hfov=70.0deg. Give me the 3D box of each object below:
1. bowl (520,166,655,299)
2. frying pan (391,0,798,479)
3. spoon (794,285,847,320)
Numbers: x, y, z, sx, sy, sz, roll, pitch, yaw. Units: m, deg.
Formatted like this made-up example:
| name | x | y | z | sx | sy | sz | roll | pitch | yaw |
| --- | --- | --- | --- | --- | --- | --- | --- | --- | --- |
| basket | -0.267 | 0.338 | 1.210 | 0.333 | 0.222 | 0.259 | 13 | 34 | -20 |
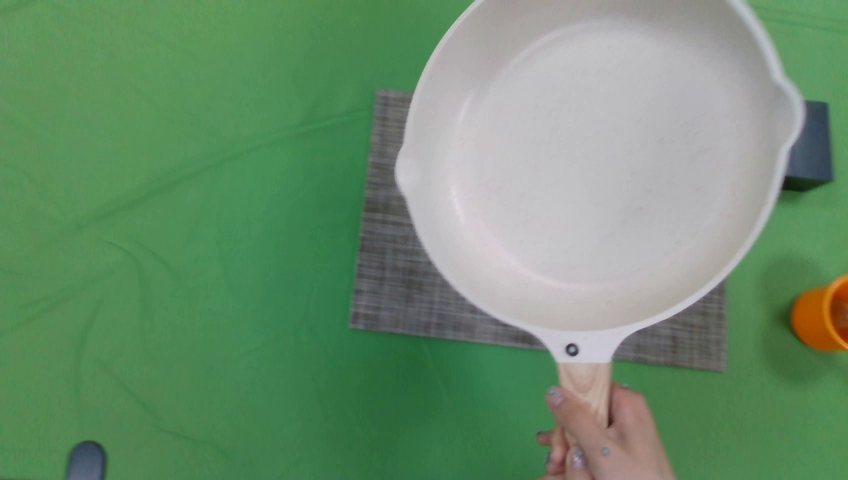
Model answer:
| name | x | y | z | sx | sy | sz | roll | pitch | yaw |
| --- | --- | --- | --- | --- | --- | --- | --- | --- | --- |
| bowl | 0.179 | -0.002 | 0.701 | 0.151 | 0.077 | 0.150 | 1 | 80 | -3 |
| frying pan | 0.121 | 0.027 | 0.475 | 0.305 | 0.103 | 0.486 | -4 | 81 | 27 |
| spoon | 0.524 | 0.079 | 0.674 | 0.022 | 0.192 | 0.041 | 26 | 75 | -43 |
